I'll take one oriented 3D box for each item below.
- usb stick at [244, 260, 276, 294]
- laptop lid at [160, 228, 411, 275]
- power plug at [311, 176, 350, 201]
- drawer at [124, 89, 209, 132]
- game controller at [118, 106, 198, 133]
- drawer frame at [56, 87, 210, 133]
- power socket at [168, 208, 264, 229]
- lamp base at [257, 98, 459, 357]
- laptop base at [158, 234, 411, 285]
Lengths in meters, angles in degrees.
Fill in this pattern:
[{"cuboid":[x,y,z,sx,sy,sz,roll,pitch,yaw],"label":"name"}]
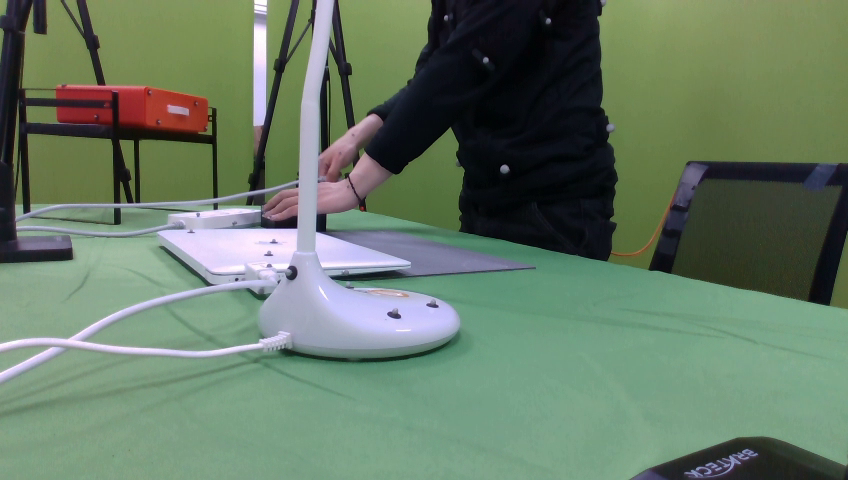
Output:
[{"cuboid":[-0.166,0.035,0.604,0.021,0.027,0.059,-8,8,-28],"label":"usb stick"},{"cuboid":[-0.201,0.007,0.806,0.243,0.013,0.355,-1,8,-31],"label":"laptop lid"},{"cuboid":[-0.183,-0.100,1.202,0.072,0.052,0.035,-9,-2,5],"label":"power plug"},{"cuboid":[-0.595,-0.268,1.263,0.211,0.073,0.195,4,8,15],"label":"drawer"},{"cuboid":[-0.555,-0.252,1.255,0.097,0.051,0.155,8,12,18],"label":"game controller"},{"cuboid":[-0.598,-0.269,1.261,0.213,0.082,0.202,4,8,14],"label":"drawer frame"},{"cuboid":[-0.381,-0.038,1.128,0.072,0.032,0.227,4,8,16],"label":"power socket"},{"cuboid":[-0.055,-0.014,0.463,0.160,0.180,0.180,6,11,27],"label":"lamp base"},{"cuboid":[-0.204,0.019,0.807,0.237,0.023,0.352,0,7,-33],"label":"laptop base"}]
